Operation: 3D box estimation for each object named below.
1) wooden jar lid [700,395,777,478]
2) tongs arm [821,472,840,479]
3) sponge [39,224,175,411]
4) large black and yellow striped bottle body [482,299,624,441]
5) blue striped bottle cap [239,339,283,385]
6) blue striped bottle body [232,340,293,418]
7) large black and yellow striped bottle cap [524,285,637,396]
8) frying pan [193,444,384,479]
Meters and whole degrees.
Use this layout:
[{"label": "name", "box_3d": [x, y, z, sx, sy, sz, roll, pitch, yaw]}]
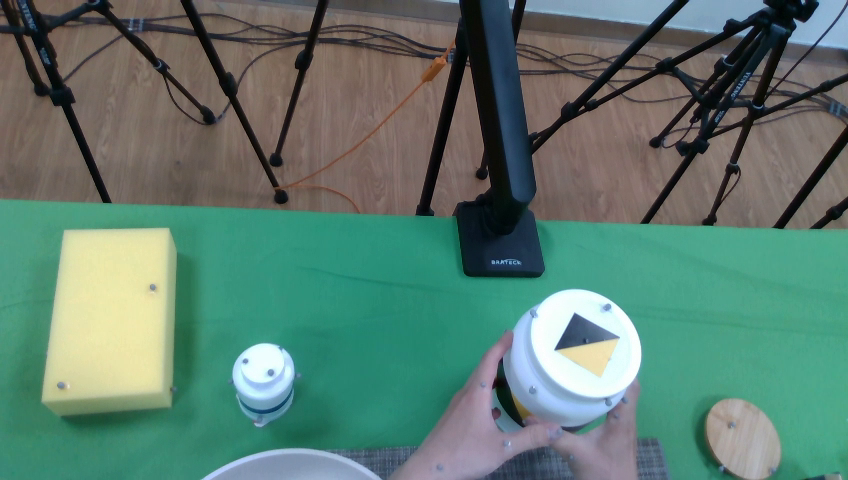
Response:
[{"label": "wooden jar lid", "box_3d": [0.418, 0.264, 0.812, 0.109, 0.021, 0.107, 6, 61, -10]}, {"label": "tongs arm", "box_3d": [0.538, 0.462, 0.685, 0.051, 0.026, 0.382, -2, 72, -16]}, {"label": "sponge", "box_3d": [-0.358, 0.084, 0.701, 0.118, 0.061, 0.205, -2, 62, -15]}, {"label": "large black and yellow striped bottle body", "box_3d": [0.146, 0.142, 0.683, 0.131, 0.185, 0.129, 4, 59, -7]}, {"label": "blue striped bottle cap", "box_3d": [-0.169, 0.126, 0.628, 0.045, 0.021, 0.044, 6, 61, -10]}, {"label": "blue striped bottle body", "box_3d": [-0.178, 0.152, 0.671, 0.063, 0.121, 0.062, 6, 60, -10]}, {"label": "large black and yellow striped bottle cap", "box_3d": [0.158, 0.099, 0.611, 0.115, 0.019, 0.114, 4, 61, -7]}, {"label": "frying pan", "box_3d": [-0.127, 0.436, 0.529, 0.308, 0.103, 0.482, 0, 53, -11]}]
